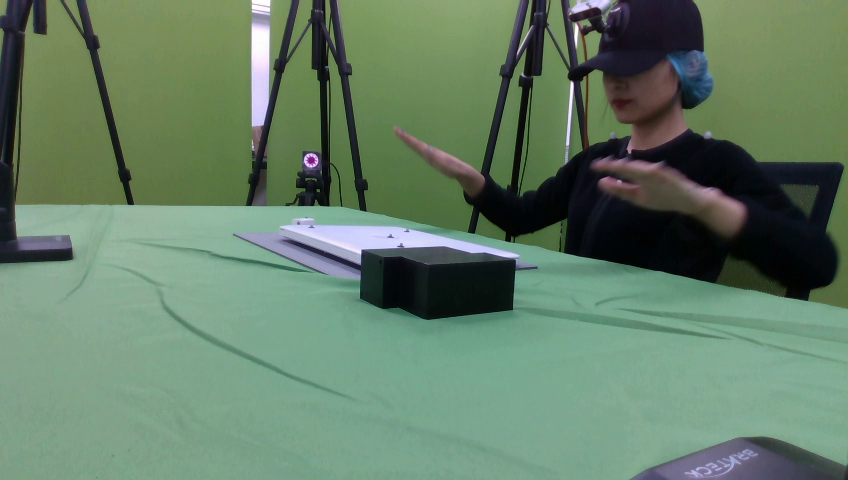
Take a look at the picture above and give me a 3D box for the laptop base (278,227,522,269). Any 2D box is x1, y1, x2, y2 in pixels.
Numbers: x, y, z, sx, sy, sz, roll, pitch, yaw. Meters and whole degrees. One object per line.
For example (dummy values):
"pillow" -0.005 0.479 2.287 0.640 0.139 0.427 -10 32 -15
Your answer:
"laptop base" -0.053 0.010 0.911 0.237 0.023 0.352 2 6 -32

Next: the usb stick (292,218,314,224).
"usb stick" -0.222 -0.026 1.091 0.021 0.027 0.059 5 10 21

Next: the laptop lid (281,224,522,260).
"laptop lid" -0.050 -0.002 0.911 0.243 0.013 0.355 1 7 -31
